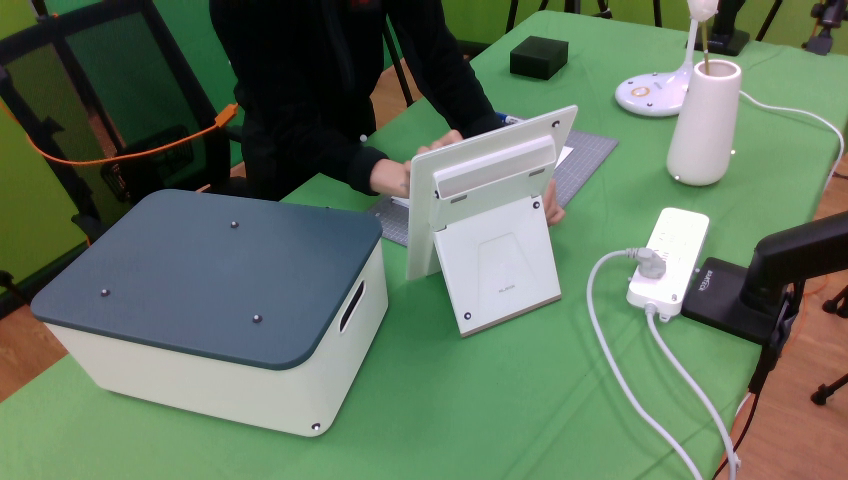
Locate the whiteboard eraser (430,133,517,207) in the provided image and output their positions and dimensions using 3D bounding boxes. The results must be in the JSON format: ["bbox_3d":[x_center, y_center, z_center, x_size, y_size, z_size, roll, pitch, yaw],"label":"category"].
[{"bbox_3d":[0.065,-0.085,0.786,0.112,0.056,0.041,-39,62,23],"label":"whiteboard eraser"}]

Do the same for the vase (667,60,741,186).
[{"bbox_3d":[0.463,-0.189,0.994,0.098,0.201,0.097,-4,40,3],"label":"vase"}]

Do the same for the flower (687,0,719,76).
[{"bbox_3d":[0.436,-0.241,0.934,0.038,0.364,0.043,-23,49,8],"label":"flower"}]

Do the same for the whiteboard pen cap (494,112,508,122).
[{"bbox_3d":[0.161,-0.253,1.248,0.033,0.018,0.018,29,52,36],"label":"whiteboard pen cap"}]

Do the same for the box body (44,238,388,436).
[{"bbox_3d":[-0.251,0.088,0.799,0.362,0.161,0.254,7,42,16],"label":"box body"}]

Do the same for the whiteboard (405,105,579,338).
[{"bbox_3d":[0.103,0.003,0.787,0.218,0.306,0.143,-19,62,-14],"label":"whiteboard"}]

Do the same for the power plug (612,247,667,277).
[{"bbox_3d":[0.306,0.031,0.852,0.072,0.053,0.035,21,48,37],"label":"power plug"}]

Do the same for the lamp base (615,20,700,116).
[{"bbox_3d":[0.484,-0.364,1.211,0.180,0.181,0.159,-15,41,-14],"label":"lamp base"}]

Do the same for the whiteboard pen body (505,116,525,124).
[{"bbox_3d":[0.203,-0.232,1.213,0.139,0.017,0.017,27,51,36],"label":"whiteboard pen body"}]

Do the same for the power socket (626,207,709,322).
[{"bbox_3d":[0.360,0.026,0.886,0.072,0.033,0.227,17,46,27],"label":"power socket"}]

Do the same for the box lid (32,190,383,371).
[{"bbox_3d":[-0.257,0.032,0.750,0.370,0.015,0.263,7,41,16],"label":"box lid"}]
